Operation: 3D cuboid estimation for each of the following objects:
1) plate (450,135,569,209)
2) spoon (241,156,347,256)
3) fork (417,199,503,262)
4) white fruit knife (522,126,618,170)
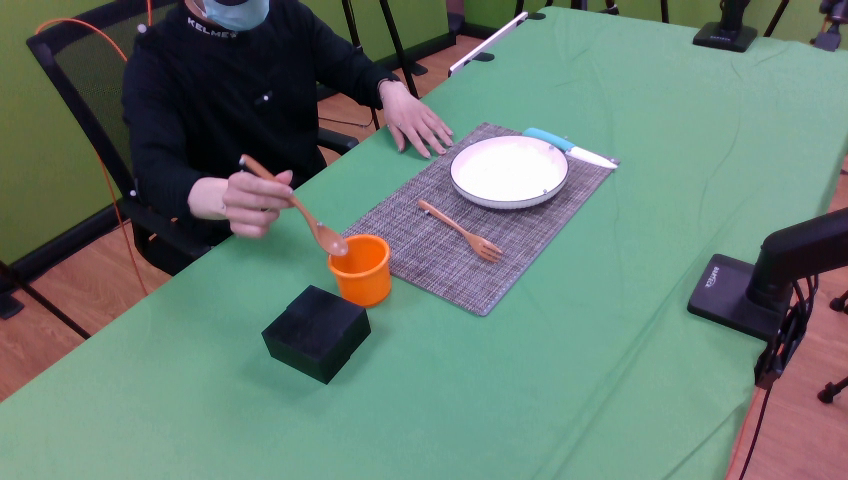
[{"bbox_3d":[0.149,-0.117,1.065,0.209,0.038,0.208,-3,41,3],"label":"plate"},{"bbox_3d":[-0.171,-0.045,0.810,0.021,0.195,0.041,-18,37,30],"label":"spoon"},{"bbox_3d":[0.053,-0.021,0.981,0.019,0.028,0.205,1,26,-41],"label":"fork"},{"bbox_3d":[0.272,-0.172,1.132,0.205,0.016,0.027,32,82,34],"label":"white fruit knife"}]
